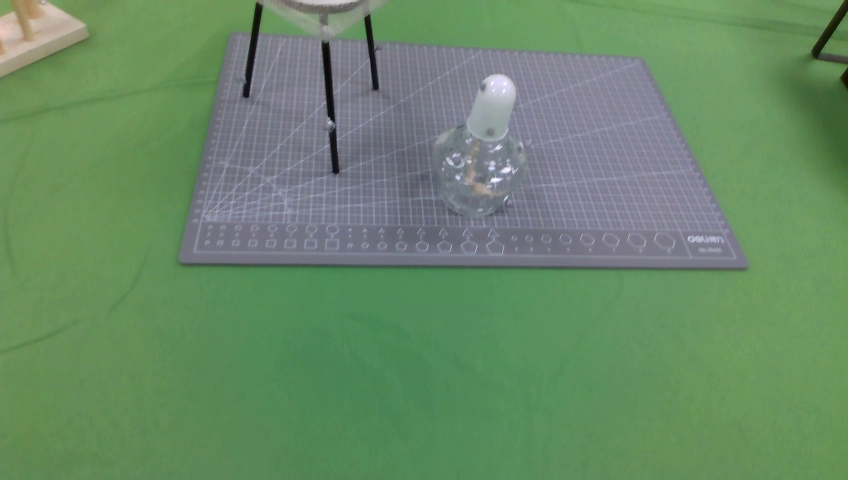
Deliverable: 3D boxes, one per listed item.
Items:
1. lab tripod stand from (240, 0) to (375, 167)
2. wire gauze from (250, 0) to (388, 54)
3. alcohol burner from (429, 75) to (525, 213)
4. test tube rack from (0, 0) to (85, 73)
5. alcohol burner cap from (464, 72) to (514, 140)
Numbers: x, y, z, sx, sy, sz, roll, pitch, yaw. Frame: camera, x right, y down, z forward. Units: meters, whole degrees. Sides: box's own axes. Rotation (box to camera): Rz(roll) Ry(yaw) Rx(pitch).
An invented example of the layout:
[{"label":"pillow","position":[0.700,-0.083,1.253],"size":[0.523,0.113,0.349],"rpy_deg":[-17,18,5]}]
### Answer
[{"label":"lab tripod stand","position":[-0.089,-0.156,0.501],"size":[0.149,0.132,0.147],"rpy_deg":[6,51,-7]},{"label":"wire gauze","position":[-0.083,-0.197,0.451],"size":[0.124,0.011,0.121],"rpy_deg":[34,56,13]},{"label":"alcohol burner","position":[0.045,-0.078,0.472],"size":[0.078,0.120,0.077],"rpy_deg":[6,49,-6]},{"label":"test tube rack","position":[-0.418,-0.170,0.495],"size":[0.066,0.086,0.241],"rpy_deg":[31,53,16]},{"label":"alcohol burner cap","position":[0.049,-0.100,0.443],"size":[0.034,0.048,0.033],"rpy_deg":[4,55,-6]}]
